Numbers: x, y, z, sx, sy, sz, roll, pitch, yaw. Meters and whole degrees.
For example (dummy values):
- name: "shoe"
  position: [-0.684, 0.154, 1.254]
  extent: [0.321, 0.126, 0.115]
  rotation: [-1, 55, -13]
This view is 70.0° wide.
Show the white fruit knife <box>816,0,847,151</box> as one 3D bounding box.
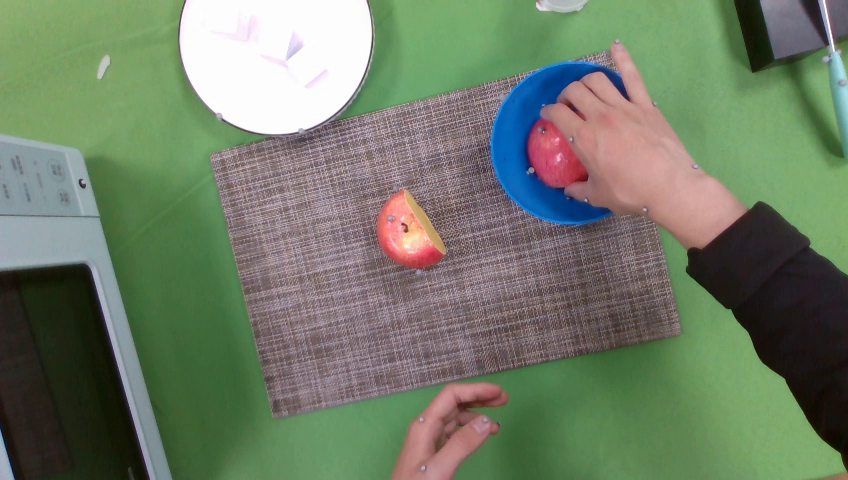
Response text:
- name: "white fruit knife"
  position: [0.380, -0.176, 0.565]
  extent: [0.016, 0.027, 0.208]
  rotation: [-18, 108, 24]

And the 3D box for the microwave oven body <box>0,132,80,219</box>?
- name: "microwave oven body"
  position: [-0.488, 0.149, 0.576]
  extent: [0.326, 0.260, 0.441]
  rotation: [-15, 92, 6]

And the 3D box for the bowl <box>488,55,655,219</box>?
- name: "bowl"
  position: [0.138, -0.095, 0.593]
  extent: [0.151, 0.077, 0.151]
  rotation: [0, 93, 6]

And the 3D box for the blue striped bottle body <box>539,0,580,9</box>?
- name: "blue striped bottle body"
  position: [0.135, -0.268, 0.567]
  extent: [0.063, 0.121, 0.063]
  rotation: [0, 92, 6]

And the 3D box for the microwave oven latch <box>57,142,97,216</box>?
- name: "microwave oven latch"
  position: [-0.382, -0.064, 0.652]
  extent: [0.030, 0.029, 0.079]
  rotation: [-15, 92, 6]

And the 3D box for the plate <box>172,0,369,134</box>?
- name: "plate"
  position: [-0.158, -0.214, 0.641]
  extent: [0.207, 0.039, 0.207]
  rotation: [0, 93, 5]

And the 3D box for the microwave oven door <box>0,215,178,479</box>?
- name: "microwave oven door"
  position: [-0.337, 0.152, 0.557]
  extent: [0.039, 0.244, 0.355]
  rotation: [-15, 91, 7]

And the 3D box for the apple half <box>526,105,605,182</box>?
- name: "apple half"
  position: [0.137, -0.094, 0.585]
  extent: [0.081, 0.033, 0.081]
  rotation: [1, 95, 15]

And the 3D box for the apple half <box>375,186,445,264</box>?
- name: "apple half"
  position: [-0.020, -0.009, 0.616]
  extent: [0.053, 0.074, 0.081]
  rotation: [-33, 93, 10]
